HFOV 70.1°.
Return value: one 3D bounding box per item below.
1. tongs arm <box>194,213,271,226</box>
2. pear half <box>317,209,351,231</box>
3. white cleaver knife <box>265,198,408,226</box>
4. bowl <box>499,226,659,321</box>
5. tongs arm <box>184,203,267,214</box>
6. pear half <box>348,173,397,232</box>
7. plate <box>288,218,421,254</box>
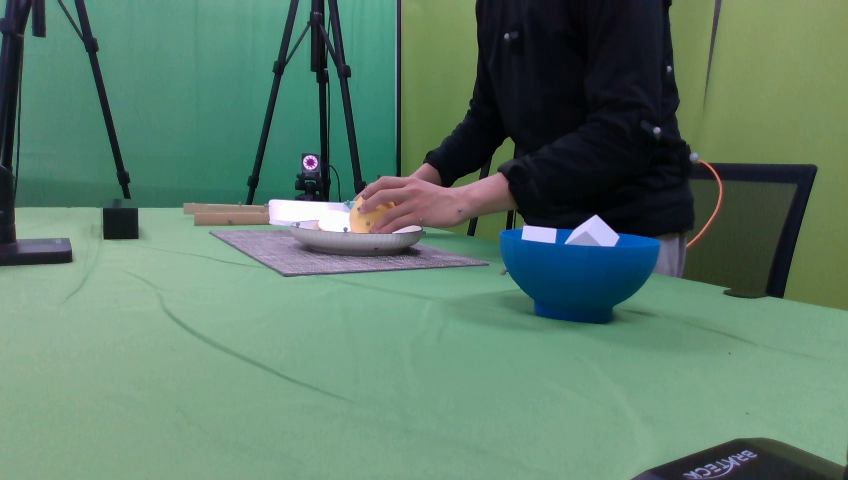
[{"bbox_3d":[-0.298,-0.049,1.307,0.390,0.028,0.028,-3,8,-37],"label":"tongs arm"},{"bbox_3d":[-0.144,-0.021,1.012,0.071,0.031,0.087,-3,26,-25],"label":"pear half"},{"bbox_3d":[-0.158,-0.050,1.140,0.288,0.065,0.021,-2,-29,-31],"label":"white cleaver knife"},{"bbox_3d":[0.145,0.032,0.585,0.151,0.077,0.151,2,7,0],"label":"bowl"},{"bbox_3d":[-0.337,-0.065,1.376,0.387,0.026,0.050,0,9,-25],"label":"tongs arm"},{"bbox_3d":[-0.071,-0.047,0.927,0.055,0.110,0.077,26,30,39],"label":"pear half"},{"bbox_3d":[-0.109,-0.007,0.956,0.208,0.039,0.207,2,7,0],"label":"plate"}]
